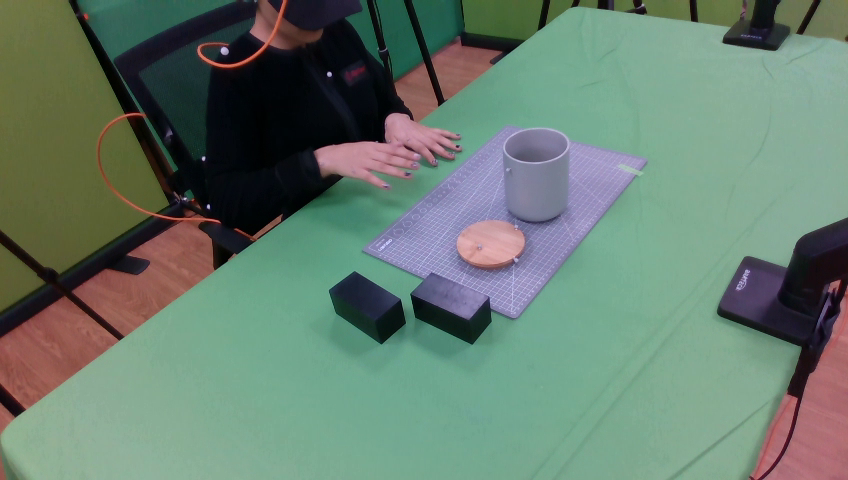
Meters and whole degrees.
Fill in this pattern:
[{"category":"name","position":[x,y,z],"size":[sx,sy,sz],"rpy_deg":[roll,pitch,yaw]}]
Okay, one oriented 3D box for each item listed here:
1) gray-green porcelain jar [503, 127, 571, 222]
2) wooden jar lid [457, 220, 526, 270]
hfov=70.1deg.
[{"category":"gray-green porcelain jar","position":[0.184,-0.102,0.983],"size":[0.106,0.127,0.105],"rpy_deg":[-5,40,5]},{"category":"wooden jar lid","position":[0.106,0.009,0.950],"size":[0.108,0.021,0.108],"rpy_deg":[-4,40,4]}]
